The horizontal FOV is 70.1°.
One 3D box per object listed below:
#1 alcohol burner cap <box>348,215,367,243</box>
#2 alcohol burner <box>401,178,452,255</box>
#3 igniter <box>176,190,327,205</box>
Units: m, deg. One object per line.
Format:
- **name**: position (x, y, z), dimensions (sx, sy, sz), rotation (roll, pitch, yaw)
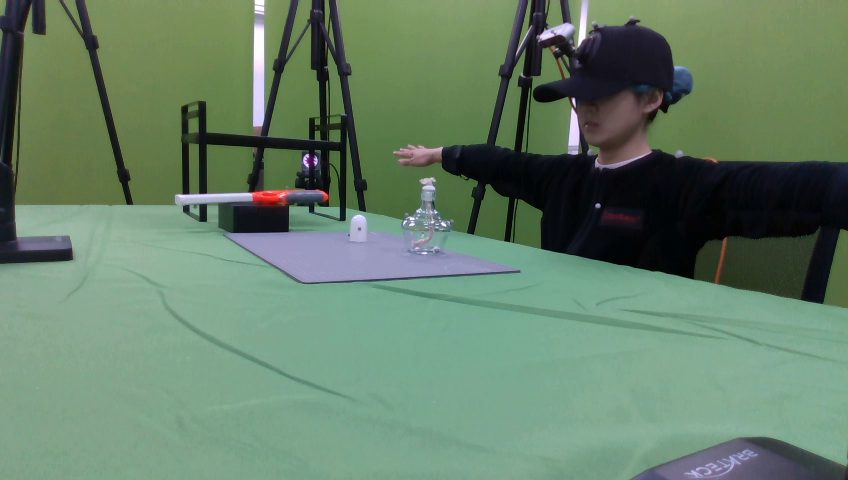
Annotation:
- **alcohol burner cap**: position (-0.112, -0.019, 1.025), dimensions (0.034, 0.048, 0.034), rotation (2, 6, 0)
- **alcohol burner**: position (0.005, -0.036, 0.923), dimensions (0.078, 0.119, 0.078), rotation (5, 7, 0)
- **igniter**: position (-0.316, -0.080, 1.137), dimensions (0.278, 0.025, 0.057), rotation (-4, 12, -33)
